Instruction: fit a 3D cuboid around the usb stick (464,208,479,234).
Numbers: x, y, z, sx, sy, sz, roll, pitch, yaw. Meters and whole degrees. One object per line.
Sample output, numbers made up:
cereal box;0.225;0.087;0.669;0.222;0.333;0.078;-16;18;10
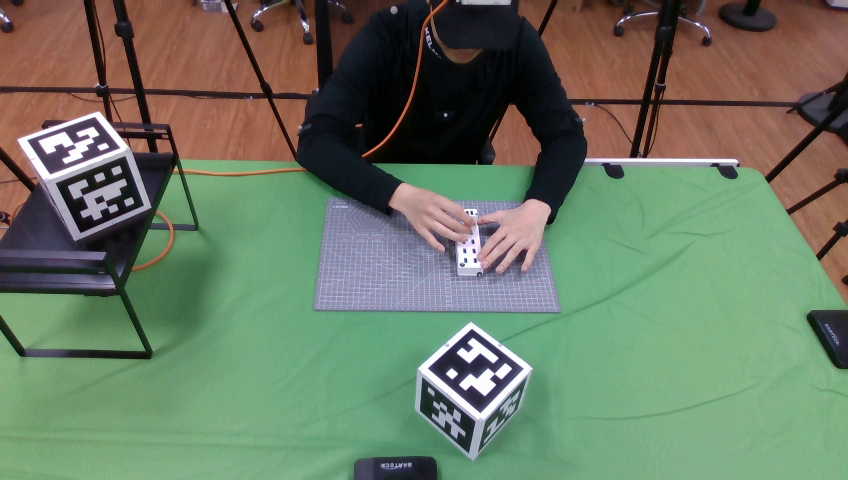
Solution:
usb stick;0.092;-0.033;1.173;0.027;0.059;0.021;-10;48;-4

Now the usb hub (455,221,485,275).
usb hub;0.088;0.014;1.178;0.049;0.025;0.124;0;46;-3
